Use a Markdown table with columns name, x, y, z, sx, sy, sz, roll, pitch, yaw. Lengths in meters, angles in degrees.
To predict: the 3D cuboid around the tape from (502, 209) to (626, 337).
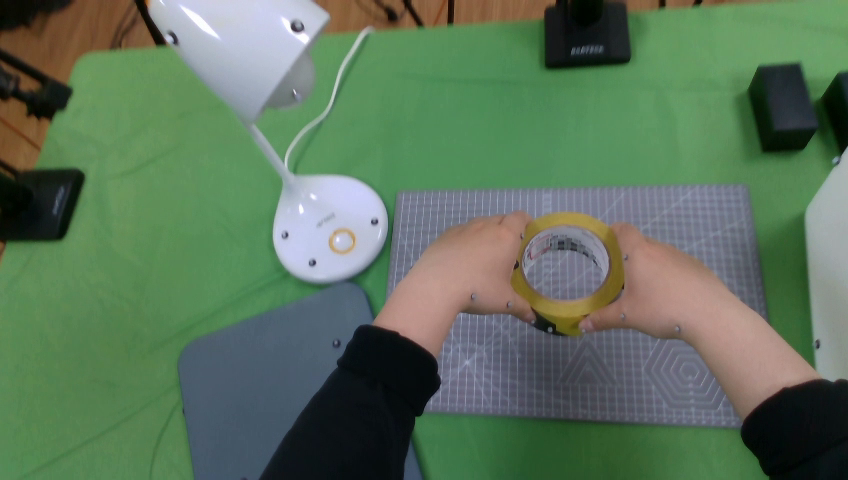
| name | x | y | z | sx | sy | sz | roll | pitch | yaw |
| --- | --- | --- | --- | --- | --- | --- | --- | --- | --- |
| tape | 0.133 | 0.030 | 0.580 | 0.117 | 0.053 | 0.116 | -4 | 62 | 9 |

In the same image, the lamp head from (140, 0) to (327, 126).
| name | x | y | z | sx | sy | sz | roll | pitch | yaw |
| --- | --- | --- | --- | --- | --- | --- | --- | --- | --- |
| lamp head | -0.156 | -0.168 | 0.480 | 0.123 | 0.112 | 0.112 | 34 | 74 | -13 |

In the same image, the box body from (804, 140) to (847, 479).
| name | x | y | z | sx | sy | sz | roll | pitch | yaw |
| --- | --- | --- | --- | --- | --- | --- | --- | --- | --- |
| box body | 0.530 | 0.082 | 0.576 | 0.253 | 0.162 | 0.361 | 4 | 67 | 13 |

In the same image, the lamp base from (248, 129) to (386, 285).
| name | x | y | z | sx | sy | sz | roll | pitch | yaw |
| --- | --- | --- | --- | --- | --- | --- | --- | --- | --- |
| lamp base | -0.152 | -0.053 | 0.757 | 0.177 | 0.182 | 0.160 | 38 | 78 | 26 |

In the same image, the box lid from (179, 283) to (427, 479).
| name | x | y | z | sx | sy | sz | roll | pitch | yaw |
| --- | --- | --- | --- | --- | --- | --- | --- | --- | --- |
| box lid | -0.146 | 0.247 | 0.718 | 0.263 | 0.015 | 0.368 | -22 | 65 | 1 |
